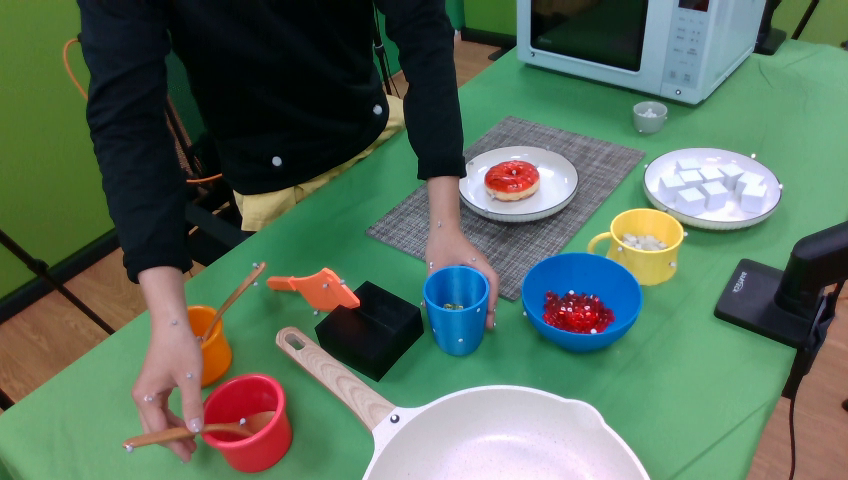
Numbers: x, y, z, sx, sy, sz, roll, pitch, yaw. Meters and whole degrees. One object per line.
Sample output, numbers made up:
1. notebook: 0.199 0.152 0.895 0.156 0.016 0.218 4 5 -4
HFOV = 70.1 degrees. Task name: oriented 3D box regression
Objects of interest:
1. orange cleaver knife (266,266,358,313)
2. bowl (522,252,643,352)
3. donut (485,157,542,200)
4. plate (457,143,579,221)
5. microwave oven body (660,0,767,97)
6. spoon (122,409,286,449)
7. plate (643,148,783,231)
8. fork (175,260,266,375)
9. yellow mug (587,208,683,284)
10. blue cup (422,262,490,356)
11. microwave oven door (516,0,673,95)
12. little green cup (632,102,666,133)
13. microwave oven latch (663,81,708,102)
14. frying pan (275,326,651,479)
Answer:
1. orange cleaver knife: -0.164 0.073 0.864 0.210 0.077 0.012 -6 29 50
2. bowl: 0.204 0.093 0.791 0.151 0.077 0.150 -4 40 4
3. donut: 0.153 -0.108 1.039 0.099 0.048 0.098 -6 37 5
4. plate: 0.161 -0.097 1.042 0.209 0.038 0.208 -4 40 4
5. microwave oven body: 0.473 -0.516 1.313 0.438 0.261 0.327 26 51 34
6. spoon: -0.235 0.208 0.668 0.041 0.021 0.195 41 16 35
7. plate: 0.464 -0.079 0.985 0.207 0.039 0.206 -4 40 4
8. fork: -0.268 0.103 0.792 0.207 0.019 0.028 -51 39 17
9. yellow mug: 0.305 0.009 0.884 0.131 0.064 0.099 -4 41 5
10. blue cup: 0.045 0.098 0.791 0.092 0.100 0.092 -3 40 3
11. microwave oven door: 0.344 -0.458 1.256 0.353 0.245 0.039 26 51 33
12. little green cup: 0.434 -0.237 1.171 0.061 0.039 0.061 -5 40 5
13. microwave oven latch: 0.519 -0.299 1.203 0.030 0.029 0.078 -37 48 -28
14. frying pan: 0.004 0.229 0.641 0.484 0.103 0.308 34 54 28
